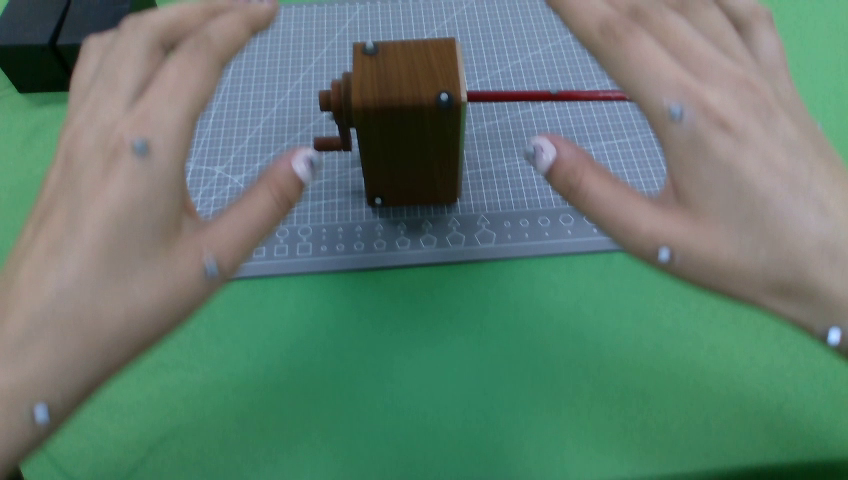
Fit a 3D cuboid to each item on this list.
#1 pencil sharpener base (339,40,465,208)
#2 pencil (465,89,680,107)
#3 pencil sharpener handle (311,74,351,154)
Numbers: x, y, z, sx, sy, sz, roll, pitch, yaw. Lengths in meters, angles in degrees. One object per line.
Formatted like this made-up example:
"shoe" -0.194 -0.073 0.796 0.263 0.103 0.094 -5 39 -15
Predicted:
"pencil sharpener base" -0.014 -0.075 0.417 0.077 0.108 0.061 -3 57 -1
"pencil" 0.073 -0.092 0.399 0.194 0.012 0.012 -1 56 -3
"pencil sharpener handle" -0.065 -0.080 0.405 0.030 0.068 0.035 -3 60 -1
